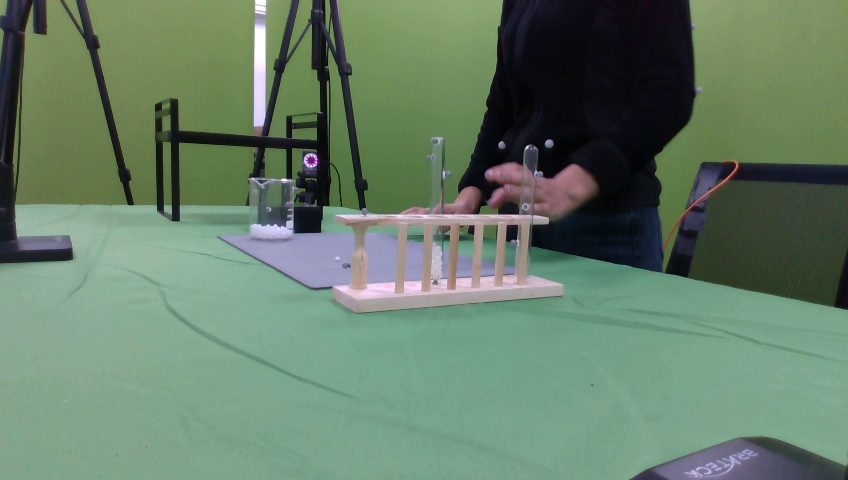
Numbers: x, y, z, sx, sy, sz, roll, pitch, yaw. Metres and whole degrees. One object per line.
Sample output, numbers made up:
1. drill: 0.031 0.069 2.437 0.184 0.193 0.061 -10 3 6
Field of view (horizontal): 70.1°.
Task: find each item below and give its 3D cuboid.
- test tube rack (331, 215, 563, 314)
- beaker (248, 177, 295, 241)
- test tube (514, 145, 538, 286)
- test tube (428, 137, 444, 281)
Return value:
1. test tube rack: 0.031 0.019 0.625 0.243 0.085 0.066 -1 8 -28
2. beaker: -0.252 -0.051 0.992 0.074 0.100 0.084 3 9 6
3. test tube: 0.108 -0.024 0.638 0.017 0.150 0.017 2 9 0
4. test tube: 0.012 -0.032 0.630 0.017 0.150 0.017 1 3 0
